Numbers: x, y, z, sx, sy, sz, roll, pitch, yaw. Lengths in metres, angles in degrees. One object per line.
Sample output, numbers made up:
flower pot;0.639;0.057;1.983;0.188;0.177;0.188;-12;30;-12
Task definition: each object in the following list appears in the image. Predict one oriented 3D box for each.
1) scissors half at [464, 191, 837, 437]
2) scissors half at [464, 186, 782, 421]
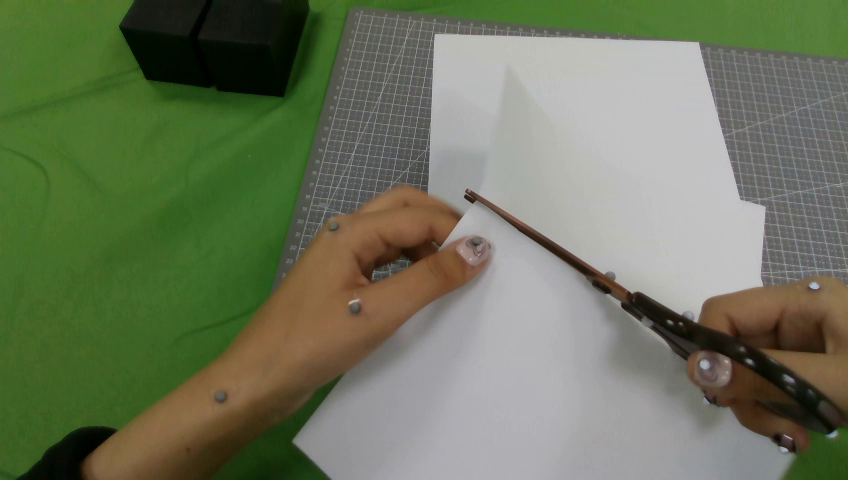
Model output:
scissors half;0.087;0.024;0.256;0.174;0.040;0.013;34;84;20
scissors half;0.090;0.026;0.276;0.175;0.040;0.013;36;90;0
